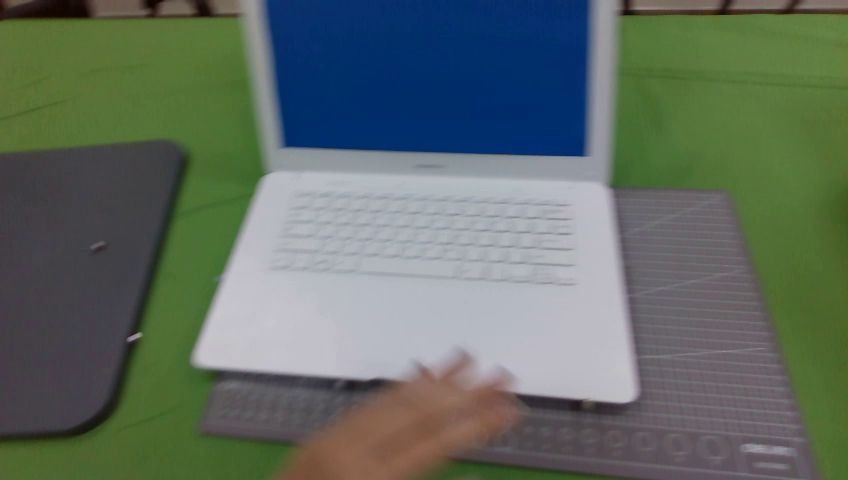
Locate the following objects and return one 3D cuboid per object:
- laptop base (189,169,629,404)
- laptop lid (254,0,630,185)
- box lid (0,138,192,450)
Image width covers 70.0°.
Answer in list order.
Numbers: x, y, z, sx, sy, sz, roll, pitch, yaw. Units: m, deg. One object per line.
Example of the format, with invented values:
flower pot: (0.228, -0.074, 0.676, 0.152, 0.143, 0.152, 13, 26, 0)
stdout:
laptop base: (-0.006, 0.029, 0.548, 0.354, 0.023, 0.233, 3, 52, 7)
laptop lid: (0.010, -0.168, 0.584, 0.356, 0.243, 0.013, 1, 19, 8)
box lid: (-0.390, 0.029, 0.588, 0.263, 0.015, 0.367, -4, 48, 2)
